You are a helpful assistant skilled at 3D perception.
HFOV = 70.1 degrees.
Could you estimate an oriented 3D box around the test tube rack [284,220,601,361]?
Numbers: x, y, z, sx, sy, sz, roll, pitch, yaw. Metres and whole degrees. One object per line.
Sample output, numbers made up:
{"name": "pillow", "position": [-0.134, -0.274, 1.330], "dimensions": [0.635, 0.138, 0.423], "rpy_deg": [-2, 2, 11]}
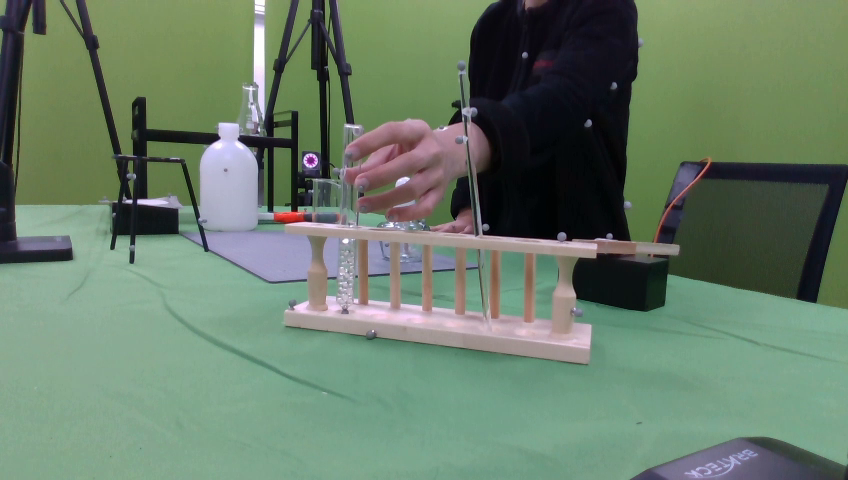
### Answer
{"name": "test tube rack", "position": [0.013, 0.032, 0.482], "dimensions": [0.242, 0.085, 0.067], "rpy_deg": [4, 7, 16]}

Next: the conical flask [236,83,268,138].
{"name": "conical flask", "position": [-0.400, -0.298, 1.395], "dimensions": [0.075, 0.122, 0.075], "rpy_deg": [2, 8, 0]}

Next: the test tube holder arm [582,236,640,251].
{"name": "test tube holder arm", "position": [0.194, 0.004, 0.628], "dimensions": [0.088, 0.015, 0.010], "rpy_deg": [2, 12, -37]}

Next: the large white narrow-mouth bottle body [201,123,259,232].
{"name": "large white narrow-mouth bottle body", "position": [-0.358, -0.116, 1.116], "dimensions": [0.102, 0.194, 0.102], "rpy_deg": [2, 8, 0]}

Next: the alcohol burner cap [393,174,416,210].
{"name": "alcohol burner cap", "position": [-0.025, -0.067, 0.833], "dimensions": [0.034, 0.048, 0.034], "rpy_deg": [4, 12, -1]}

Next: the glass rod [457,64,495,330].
{"name": "glass rod", "position": [0.039, -0.029, 0.449], "dimensions": [0.008, 0.199, 0.008], "rpy_deg": [-7, 9, 1]}

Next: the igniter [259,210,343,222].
{"name": "igniter", "position": [-0.303, -0.049, 1.258], "dimensions": [0.278, 0.025, 0.057], "rpy_deg": [-2, -2, -28]}

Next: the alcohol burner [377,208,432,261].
{"name": "alcohol burner", "position": [-0.027, -0.031, 0.838], "dimensions": [0.078, 0.119, 0.078], "rpy_deg": [0, 6, 0]}

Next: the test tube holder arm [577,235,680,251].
{"name": "test tube holder arm", "position": [0.227, 0.004, 0.661], "dimensions": [0.179, 0.015, 0.013], "rpy_deg": [1, 12, -38]}

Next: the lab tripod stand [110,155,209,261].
{"name": "lab tripod stand", "position": [-0.362, -0.046, 0.806], "dimensions": [0.148, 0.131, 0.148], "rpy_deg": [2, 5, 0]}

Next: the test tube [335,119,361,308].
{"name": "test tube", "position": [-0.060, -0.019, 0.475], "dimensions": [0.017, 0.150, 0.017], "rpy_deg": [3, 11, 0]}

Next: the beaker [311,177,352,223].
{"name": "beaker", "position": [-0.168, -0.064, 1.106], "dimensions": [0.074, 0.100, 0.083], "rpy_deg": [-2, 9, -26]}

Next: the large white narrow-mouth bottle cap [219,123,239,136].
{"name": "large white narrow-mouth bottle cap", "position": [-0.356, -0.201, 1.104], "dimensions": [0.038, 0.024, 0.037], "rpy_deg": [2, 8, 0]}

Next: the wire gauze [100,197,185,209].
{"name": "wire gauze", "position": [-0.469, -0.062, 1.008], "dimensions": [0.126, 0.011, 0.121], "rpy_deg": [-2, 8, -25]}
